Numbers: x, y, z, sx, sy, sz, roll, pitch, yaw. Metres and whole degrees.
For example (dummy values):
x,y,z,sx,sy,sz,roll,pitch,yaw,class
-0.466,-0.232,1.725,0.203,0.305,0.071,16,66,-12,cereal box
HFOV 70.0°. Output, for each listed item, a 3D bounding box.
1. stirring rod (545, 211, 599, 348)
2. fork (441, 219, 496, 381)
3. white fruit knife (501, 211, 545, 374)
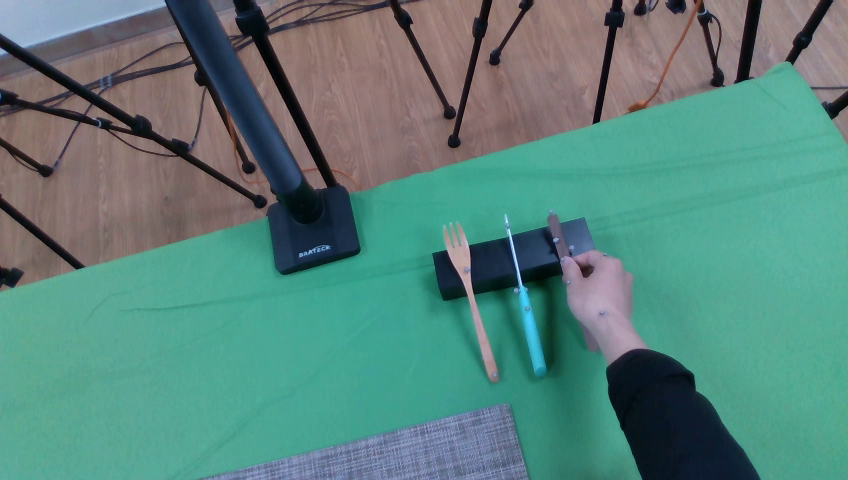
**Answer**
x,y,z,sx,sy,sz,roll,pitch,yaw,class
0.182,0.048,0.745,0.014,0.006,0.176,-20,86,33,stirring rod
0.058,0.075,0.755,0.028,0.018,0.207,-15,85,-2,fork
0.119,0.064,0.750,0.016,0.027,0.206,-12,82,-1,white fruit knife
